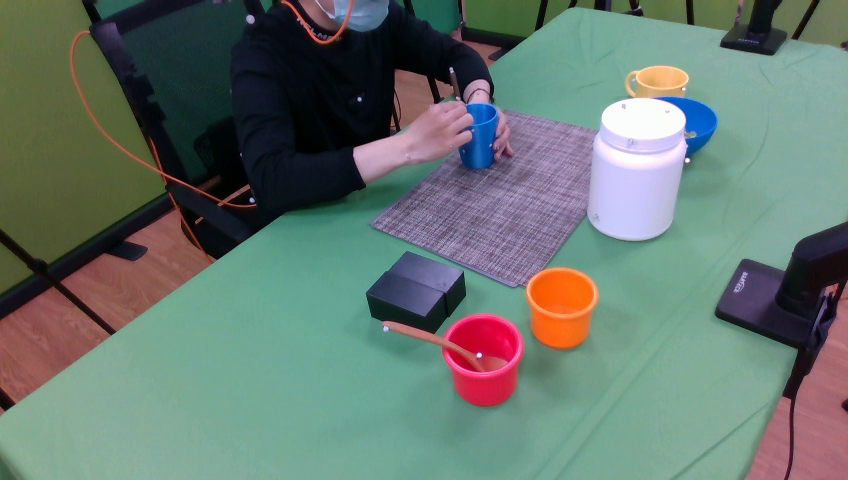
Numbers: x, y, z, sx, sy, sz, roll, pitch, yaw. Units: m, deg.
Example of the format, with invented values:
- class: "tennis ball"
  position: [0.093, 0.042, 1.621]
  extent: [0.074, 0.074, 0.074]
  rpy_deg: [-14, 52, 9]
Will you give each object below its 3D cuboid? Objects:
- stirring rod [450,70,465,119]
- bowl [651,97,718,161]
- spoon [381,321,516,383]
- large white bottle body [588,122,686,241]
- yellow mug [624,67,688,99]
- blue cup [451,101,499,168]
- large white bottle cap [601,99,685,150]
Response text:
- class: "stirring rod"
  position: [0.068, -0.223, 1.078]
  extent: [0.006, 0.177, 0.014]
  rpy_deg: [2, 44, 22]
- class: "bowl"
  position: [0.439, -0.187, 1.087]
  extent: [0.151, 0.077, 0.150]
  rpy_deg: [-4, 41, 4]
- class: "spoon"
  position: [0.033, 0.131, 0.726]
  extent: [0.195, 0.021, 0.041]
  rpy_deg: [29, 30, -26]
- class: "large white bottle body"
  position: [0.324, -0.105, 0.926]
  extent: [0.130, 0.185, 0.130]
  rpy_deg: [-5, 41, 4]
- class: "yellow mug"
  position: [0.464, -0.305, 1.230]
  extent: [0.100, 0.064, 0.129]
  rpy_deg: [-34, 46, -27]
- class: "blue cup"
  position: [0.098, -0.190, 1.117]
  extent: [0.092, 0.100, 0.092]
  rpy_deg: [-6, 39, 5]
- class: "large white bottle cap"
  position: [0.315, -0.168, 0.870]
  extent: [0.115, 0.018, 0.114]
  rpy_deg: [-4, 41, 4]
